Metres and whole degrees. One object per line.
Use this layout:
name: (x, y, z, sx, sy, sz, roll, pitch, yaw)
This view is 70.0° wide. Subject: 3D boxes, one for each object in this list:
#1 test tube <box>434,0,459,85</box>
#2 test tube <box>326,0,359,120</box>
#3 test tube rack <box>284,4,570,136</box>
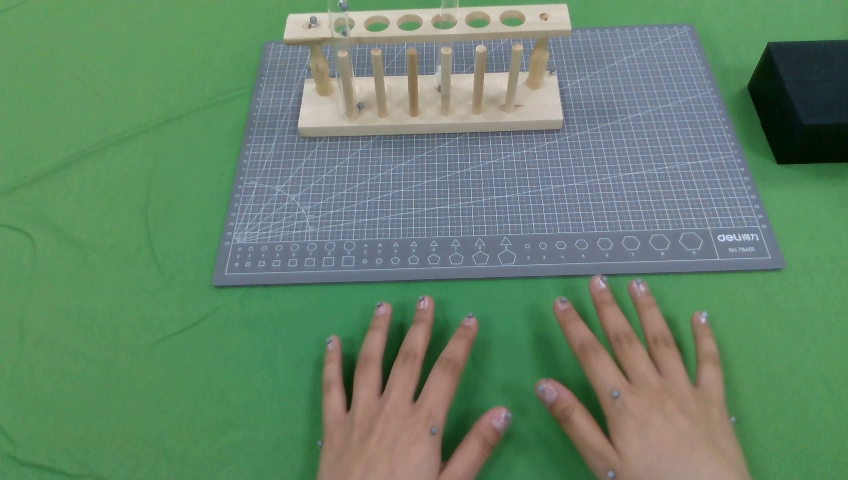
test tube: (0.021, -0.193, 0.511, 0.017, 0.151, 0.017, 2, 54, -2)
test tube: (-0.068, -0.158, 0.499, 0.017, 0.152, 0.017, 1, 55, 0)
test tube rack: (0.003, -0.150, 0.544, 0.242, 0.086, 0.066, -1, 56, 2)
